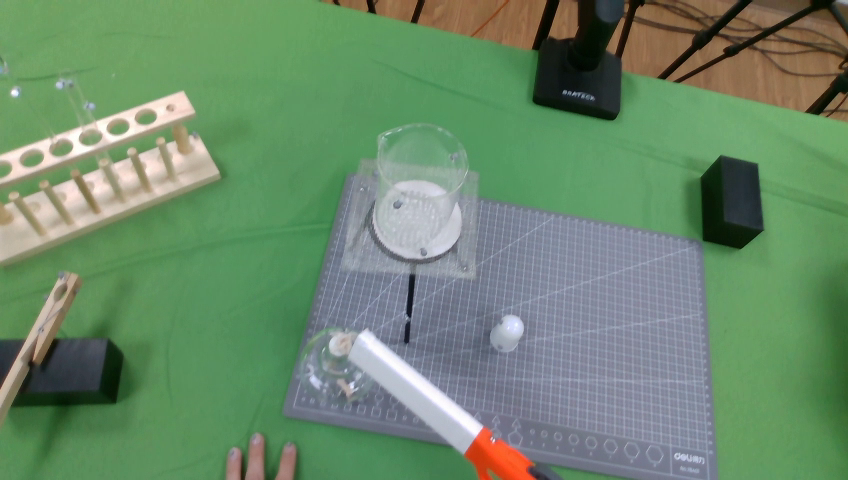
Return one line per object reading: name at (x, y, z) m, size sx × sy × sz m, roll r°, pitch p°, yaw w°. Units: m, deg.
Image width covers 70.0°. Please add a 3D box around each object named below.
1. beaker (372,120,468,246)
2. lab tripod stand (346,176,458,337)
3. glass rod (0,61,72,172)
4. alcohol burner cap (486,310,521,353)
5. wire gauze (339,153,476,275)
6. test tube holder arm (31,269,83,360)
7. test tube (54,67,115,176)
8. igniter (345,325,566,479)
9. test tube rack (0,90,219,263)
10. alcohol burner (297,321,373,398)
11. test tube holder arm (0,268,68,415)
beaker at (-0.011, -0.046, 0.528) m, size 0.083 × 0.101 × 0.074 m, roll 34°, pitch 63°, yaw 10°
lab tripod stand at (-0.017, 0.010, 0.628) m, size 0.149 × 0.132 × 0.147 m, roll 4°, pitch 63°, yaw -7°
glass rod at (-0.380, -0.113, 0.597) m, size 0.008 × 0.201 × 0.008 m, roll 1°, pitch 56°, yaw -1°
alcohol burner cap at (0.087, 0.096, 0.650) m, size 0.034 × 0.048 × 0.033 m, roll 8°, pitch 44°, yaw -7°
wire gauze at (-0.012, -0.025, 0.573) m, size 0.121 × 0.011 × 0.124 m, roll 6°, pitch 66°, yaw -3°
test tube holder arm at (-0.346, 0.069, 0.566) m, size 0.010 × 0.015 × 0.087 m, roll 14°, pitch 60°, yaw 0°
test tube at (-0.346, -0.116, 0.623) m, size 0.017 × 0.151 × 0.017 m, roll 4°, pitch 57°, yaw -6°
igniter at (0.047, 0.165, 0.491) m, size 0.275 × 0.057 × 0.025 m, roll 37°, pitch 34°, yaw 14°
test tube rack at (-0.358, -0.070, 0.654) m, size 0.242 × 0.086 × 0.066 m, roll -27°, pitch 69°, yaw -20°
alcohol burner at (-0.082, 0.109, 0.579) m, size 0.078 × 0.120 × 0.077 m, roll 4°, pitch 61°, yaw -7°
test tube holder arm at (-0.361, 0.105, 0.544) m, size 0.013 × 0.015 × 0.177 m, roll 13°, pitch 61°, yaw 0°
